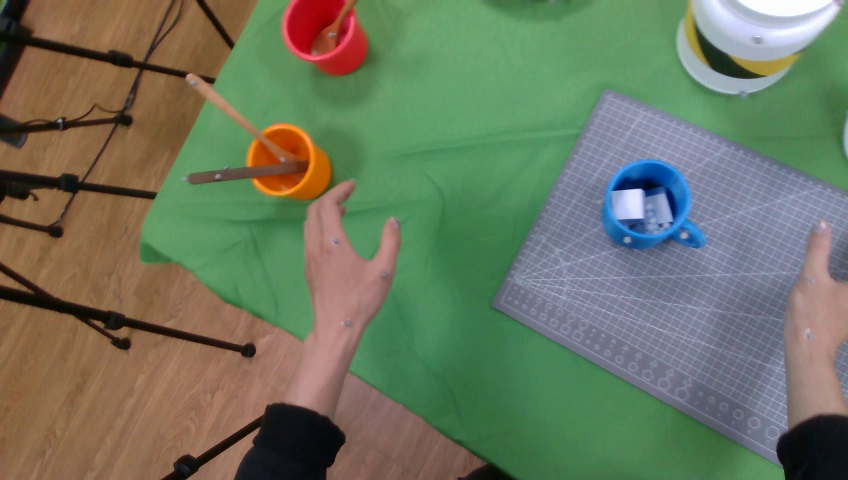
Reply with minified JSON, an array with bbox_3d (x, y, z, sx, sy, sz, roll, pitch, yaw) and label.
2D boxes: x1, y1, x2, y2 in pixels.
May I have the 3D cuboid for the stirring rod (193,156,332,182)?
[{"bbox_3d":[-0.197,-0.090,0.756,0.177,0.006,0.014,-12,83,-31],"label":"stirring rod"}]

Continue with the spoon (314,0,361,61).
[{"bbox_3d":[-0.090,-0.282,0.745,0.193,0.022,0.041,-30,70,54],"label":"spoon"}]

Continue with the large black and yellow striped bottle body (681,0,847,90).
[{"bbox_3d":[0.346,-0.244,0.618,0.130,0.185,0.130,-1,84,13],"label":"large black and yellow striped bottle body"}]

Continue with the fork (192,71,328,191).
[{"bbox_3d":[-0.201,-0.134,0.755,0.028,0.018,0.209,-45,120,4],"label":"fork"}]

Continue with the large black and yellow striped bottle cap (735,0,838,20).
[{"bbox_3d":[0.326,-0.254,0.537,0.115,0.019,0.115,-1,86,13],"label":"large black and yellow striped bottle cap"}]

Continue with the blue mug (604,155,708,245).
[{"bbox_3d":[0.255,-0.031,0.658,0.116,0.106,0.082,36,93,14],"label":"blue mug"}]
